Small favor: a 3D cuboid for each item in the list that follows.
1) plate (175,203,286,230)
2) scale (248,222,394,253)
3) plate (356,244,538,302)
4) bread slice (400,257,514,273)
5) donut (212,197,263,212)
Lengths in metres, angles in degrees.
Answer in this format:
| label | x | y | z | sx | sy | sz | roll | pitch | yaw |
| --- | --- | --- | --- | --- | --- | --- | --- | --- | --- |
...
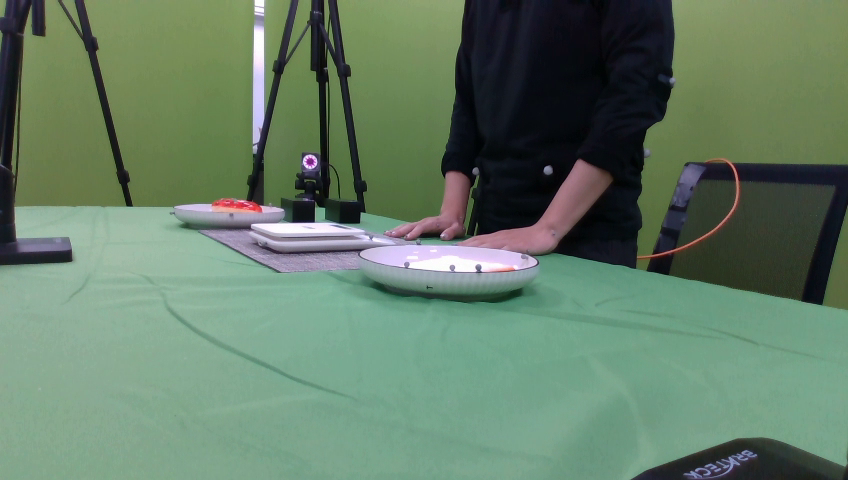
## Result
| label | x | y | z | sx | sy | sz | roll | pitch | yaw |
| --- | --- | --- | --- | --- | --- | --- | --- | --- | --- |
| plate | -0.380 | -0.047 | 1.199 | 0.208 | 0.039 | 0.207 | 2 | 7 | 0 |
| scale | -0.162 | -0.006 | 0.954 | 0.202 | 0.031 | 0.148 | -1 | 9 | -32 |
| plate | 0.025 | 0.036 | 0.693 | 0.209 | 0.038 | 0.209 | 3 | 7 | 0 |
| bread slice | 0.029 | 0.038 | 0.689 | 0.104 | 0.019 | 0.132 | 8 | 10 | 37 |
| donut | -0.376 | -0.061 | 1.220 | 0.099 | 0.048 | 0.099 | 5 | 4 | 0 |
